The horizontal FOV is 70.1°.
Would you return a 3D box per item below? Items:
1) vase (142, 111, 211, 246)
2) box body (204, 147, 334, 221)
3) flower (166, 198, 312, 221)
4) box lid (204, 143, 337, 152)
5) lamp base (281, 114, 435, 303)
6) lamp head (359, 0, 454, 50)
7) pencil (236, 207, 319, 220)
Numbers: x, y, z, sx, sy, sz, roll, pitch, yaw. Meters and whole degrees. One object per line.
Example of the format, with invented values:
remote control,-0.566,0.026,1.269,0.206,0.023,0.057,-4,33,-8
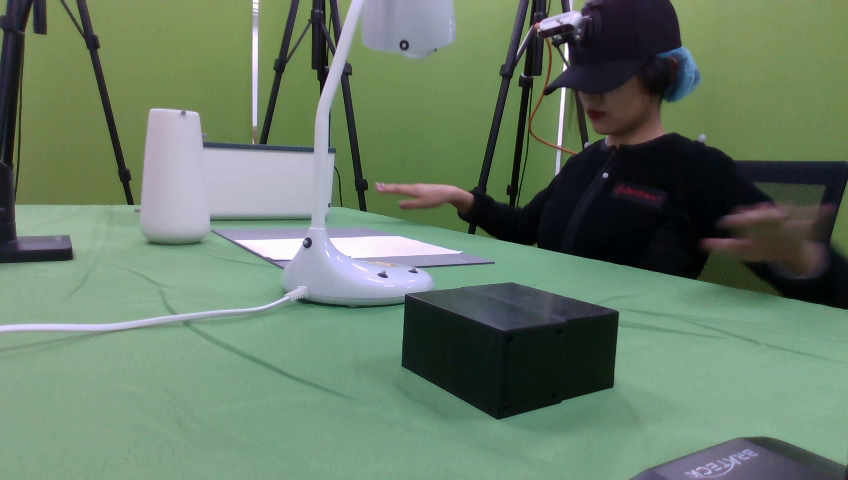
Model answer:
vase,-0.378,-0.093,0.920,0.098,0.200,0.098,2,9,0
box body,-0.413,-0.134,1.379,0.366,0.160,0.253,-2,9,-31
flower,-0.397,-0.058,1.355,0.044,0.038,0.364,-37,-25,32
box lid,-0.407,-0.209,1.370,0.373,0.015,0.262,-3,9,-30
lamp base,-0.071,-0.035,0.614,0.160,0.180,0.180,6,10,27
lamp head,-0.024,-0.283,0.674,0.112,0.123,0.112,-3,38,3
pencil,-0.347,-0.062,1.437,0.194,0.012,0.012,7,7,-6
